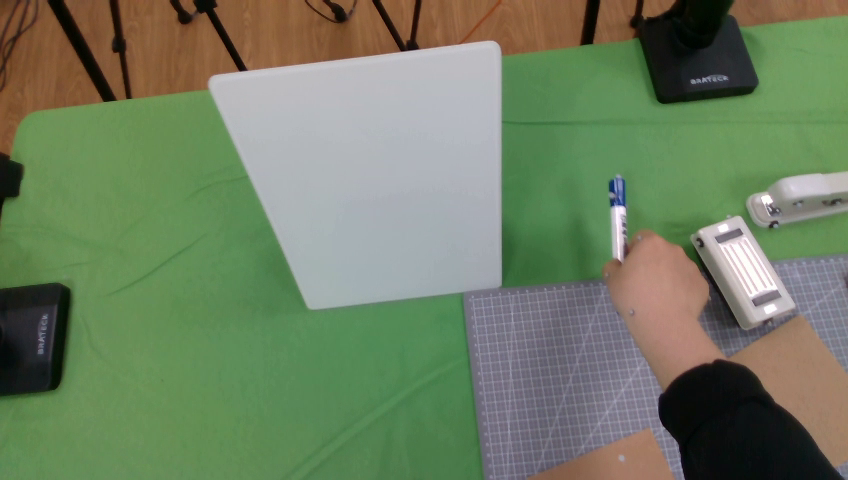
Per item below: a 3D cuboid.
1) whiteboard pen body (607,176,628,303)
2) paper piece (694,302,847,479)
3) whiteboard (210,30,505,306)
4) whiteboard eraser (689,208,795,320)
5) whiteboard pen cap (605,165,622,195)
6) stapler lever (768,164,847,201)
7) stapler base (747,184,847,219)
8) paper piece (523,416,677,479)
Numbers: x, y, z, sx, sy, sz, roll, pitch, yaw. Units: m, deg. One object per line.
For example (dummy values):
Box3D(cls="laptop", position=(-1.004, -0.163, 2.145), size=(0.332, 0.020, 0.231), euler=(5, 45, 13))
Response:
Box3D(cls="whiteboard pen body", position=(0.199, -0.005, 0.624), size=(0.017, 0.017, 0.140), euler=(0, 79, 4))
Box3D(cls="paper piece", position=(0.366, 0.153, 0.605), size=(0.136, 0.009, 0.137), euler=(-28, 72, -2))
Box3D(cls="whiteboard", position=(-0.039, -0.089, 0.594), size=(0.217, 0.308, 0.142), euler=(-6, 50, 2))
Box3D(cls="whiteboard eraser", position=(0.330, 0.025, 0.635), size=(0.055, 0.042, 0.112), euler=(-21, 69, -3))
Box3D(cls="whiteboard pen cap", position=(0.201, -0.061, 0.640), size=(0.018, 0.018, 0.033), euler=(-1, 78, 3))
Box3D(cls="stapler lever", position=(0.430, -0.064, 0.650), size=(0.118, 0.040, 0.026), euler=(-11, 72, -1))
Box3D(cls="stapler base", position=(0.429, -0.055, 0.673), size=(0.130, 0.024, 0.041), euler=(-11, 72, -3))
Box3D(cls="paper piece", position=(0.183, 0.256, 0.578), size=(0.135, 0.004, 0.134), euler=(-20, 71, -4))
